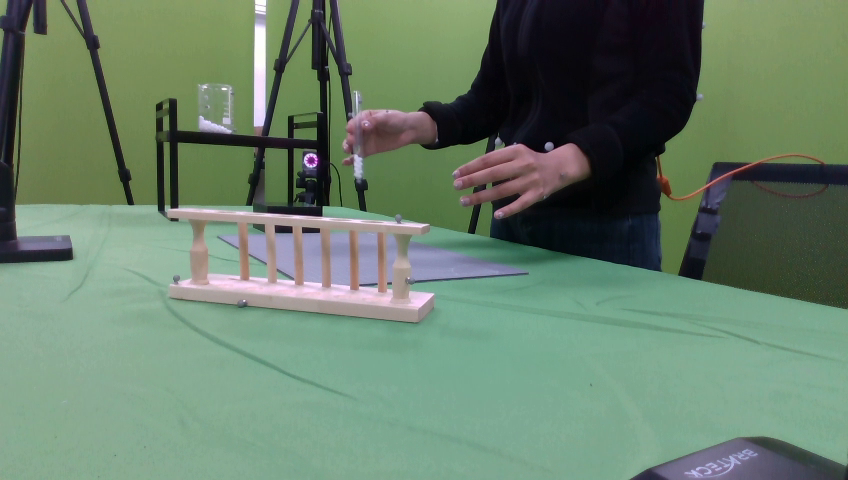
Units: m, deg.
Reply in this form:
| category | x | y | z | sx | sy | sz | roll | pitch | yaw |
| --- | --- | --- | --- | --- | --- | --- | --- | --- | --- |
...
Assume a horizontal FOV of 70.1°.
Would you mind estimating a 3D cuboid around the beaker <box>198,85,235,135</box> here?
| category | x | y | z | sx | sy | sz | roll | pitch | yaw |
| --- | --- | --- | --- | --- | --- | --- | --- | --- | --- |
| beaker | -0.439 | -0.273 | 1.275 | 0.074 | 0.100 | 0.084 | 5 | 8 | 19 |

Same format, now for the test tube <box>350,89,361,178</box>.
| category | x | y | z | sx | sy | sz | roll | pitch | yaw |
| --- | --- | --- | --- | --- | --- | --- | --- | --- | --- |
| test tube | -0.111 | -0.173 | 0.983 | 0.017 | 0.150 | 0.017 | -2 | -12 | 0 |

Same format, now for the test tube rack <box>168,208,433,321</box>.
| category | x | y | z | sx | sy | sz | roll | pitch | yaw |
| --- | --- | --- | --- | --- | --- | --- | --- | --- | --- |
| test tube rack | -0.116 | 0.017 | 0.574 | 0.242 | 0.085 | 0.067 | 4 | 8 | 13 |
